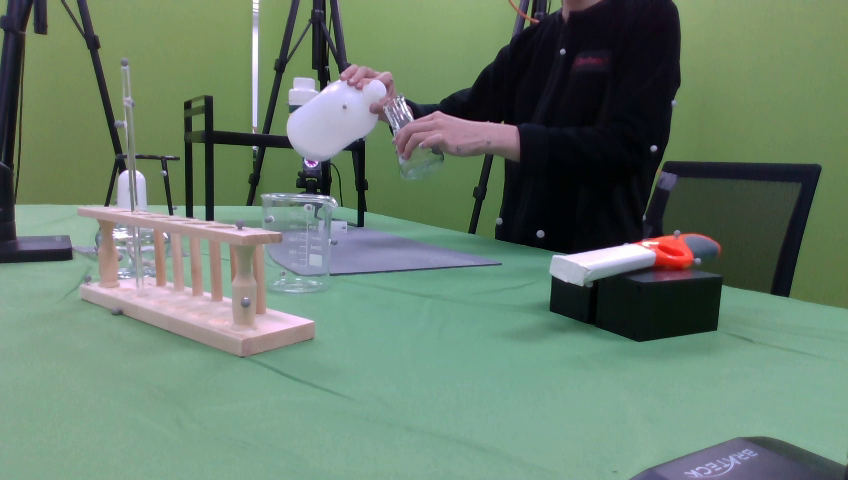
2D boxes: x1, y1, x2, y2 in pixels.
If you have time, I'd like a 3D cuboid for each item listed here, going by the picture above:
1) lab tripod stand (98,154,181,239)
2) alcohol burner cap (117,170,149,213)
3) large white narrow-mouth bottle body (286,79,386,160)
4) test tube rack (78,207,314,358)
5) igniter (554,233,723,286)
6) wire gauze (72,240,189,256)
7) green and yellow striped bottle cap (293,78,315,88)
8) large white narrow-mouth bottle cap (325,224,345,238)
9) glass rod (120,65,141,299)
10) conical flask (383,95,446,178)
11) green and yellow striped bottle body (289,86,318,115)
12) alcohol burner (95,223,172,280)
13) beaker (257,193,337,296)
[{"bbox_3d":[-0.427,-0.066,0.942,0.148,0.131,0.148,1,6,0],"label":"lab tripod stand"},{"bbox_3d":[-0.320,-0.052,0.661,0.034,0.048,0.034,-3,0,0],"label":"alcohol burner cap"},{"bbox_3d":[-0.138,-0.211,1.010,0.194,0.101,0.102,-22,-10,39],"label":"large white narrow-mouth bottle body"},{"bbox_3d":[-0.196,0.024,0.500,0.241,0.085,0.067,8,8,37],"label":"test tube rack"},{"bbox_3d":[0.214,0.015,0.570,0.278,0.025,0.057,-5,22,-44],"label":"igniter"},{"bbox_3d":[-0.399,0.013,0.820,0.126,0.011,0.121,-3,8,-37],"label":"wire gauze"},{"bbox_3d":[-0.248,-0.324,1.256,0.045,0.020,0.045,4,8,0],"label":"green and yellow striped bottle cap"},{"bbox_3d":[-0.160,-0.017,1.090,0.038,0.024,0.037,3,9,0],"label":"large white narrow-mouth bottle cap"},{"bbox_3d":[-0.248,-0.047,0.513,0.008,0.199,0.008,-1,4,0],"label":"glass rod"},{"bbox_3d":[-0.023,-0.162,0.931,0.075,0.121,0.075,-25,-9,-4],"label":"conical flask"},{"bbox_3d":[-0.250,-0.272,1.261,0.063,0.119,0.063,3,7,0],"label":"green and yellow striped bottle body"},{"bbox_3d":[-0.320,-0.016,0.667,0.078,0.119,0.078,0,7,0],"label":"alcohol burner"},{"bbox_3d":[-0.130,0.003,0.628,0.084,0.100,0.074,5,8,15],"label":"beaker"}]
